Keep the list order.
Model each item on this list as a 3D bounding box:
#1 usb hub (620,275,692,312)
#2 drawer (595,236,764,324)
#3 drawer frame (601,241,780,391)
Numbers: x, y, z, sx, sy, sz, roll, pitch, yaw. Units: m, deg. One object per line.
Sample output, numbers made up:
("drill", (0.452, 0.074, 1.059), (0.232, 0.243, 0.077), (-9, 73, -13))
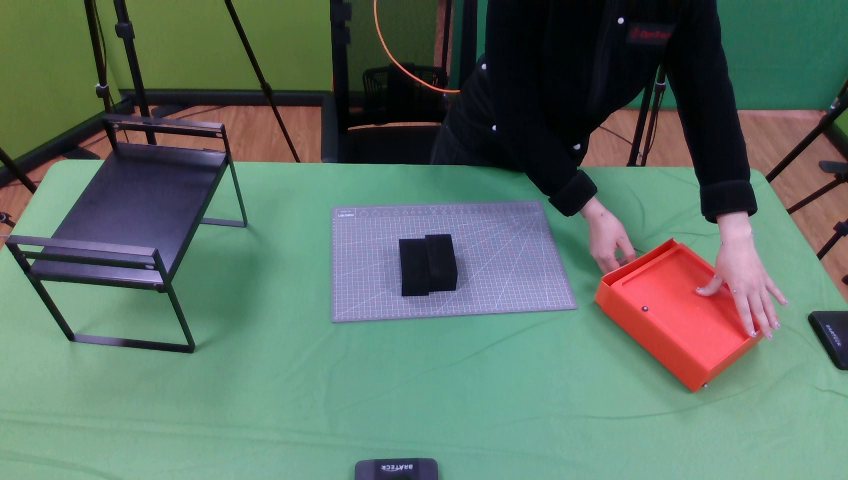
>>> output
("usb hub", (0.425, 0.098, 1.111), (0.125, 0.025, 0.049), (-9, 46, -19))
("drawer", (0.449, 0.113, 1.077), (0.194, 0.073, 0.210), (-24, 53, -25))
("drawer frame", (0.462, 0.125, 1.065), (0.202, 0.083, 0.212), (-26, 54, -26))
